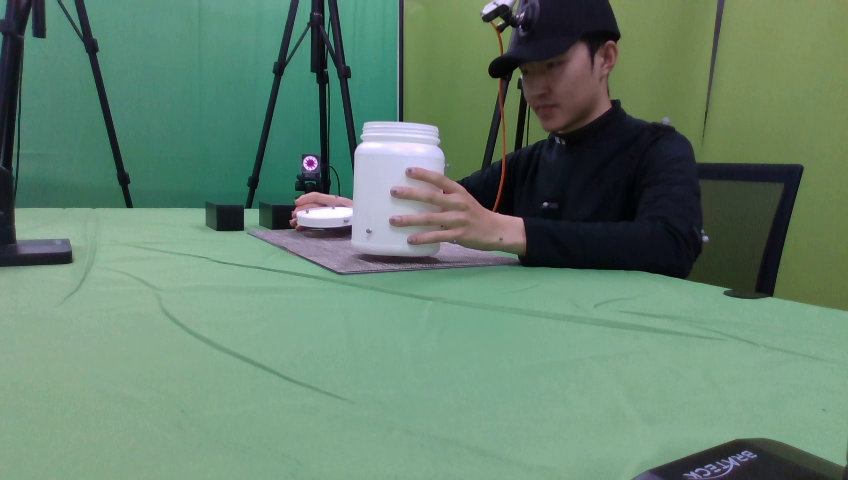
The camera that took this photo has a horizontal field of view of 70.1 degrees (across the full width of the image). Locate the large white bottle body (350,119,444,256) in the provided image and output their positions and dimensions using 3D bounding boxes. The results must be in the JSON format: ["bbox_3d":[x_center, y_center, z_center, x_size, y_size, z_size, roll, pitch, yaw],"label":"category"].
[{"bbox_3d":[-0.038,-0.075,0.871,0.131,0.184,0.130,3,6,0],"label":"large white bottle body"}]

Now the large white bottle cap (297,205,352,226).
[{"bbox_3d":[-0.175,-0.046,1.108,0.115,0.018,0.114,0,13,0],"label":"large white bottle cap"}]
